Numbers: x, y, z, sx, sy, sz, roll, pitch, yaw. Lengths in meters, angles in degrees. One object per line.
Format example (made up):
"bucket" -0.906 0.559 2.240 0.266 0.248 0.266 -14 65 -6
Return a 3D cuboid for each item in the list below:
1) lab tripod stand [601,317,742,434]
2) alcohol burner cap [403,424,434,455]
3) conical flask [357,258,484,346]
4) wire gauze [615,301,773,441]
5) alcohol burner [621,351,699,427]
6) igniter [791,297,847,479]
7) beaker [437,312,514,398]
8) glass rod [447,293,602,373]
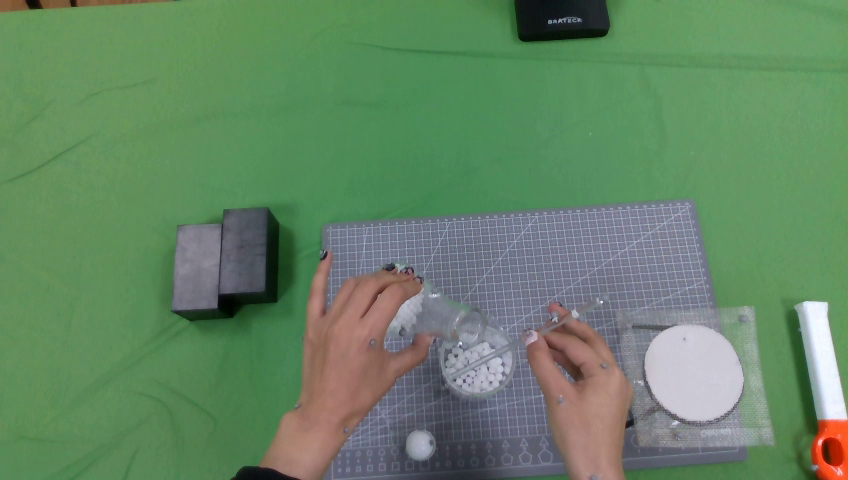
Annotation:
"lab tripod stand" 0.240 0.139 0.603 0.148 0.132 0.147 0 74 1
"alcohol burner cap" -0.006 0.208 0.633 0.034 0.048 0.033 0 73 1
"conical flask" 0.000 0.062 0.548 0.121 0.076 0.075 13 66 49
"wire gauze" 0.239 0.116 0.539 0.125 0.011 0.120 -1 73 1
"alcohol burner" 0.242 0.148 0.610 0.078 0.120 0.077 -1 72 4
"igniter" 0.429 0.196 0.640 0.057 0.025 0.275 4 72 -9
"beaker" 0.052 0.123 0.630 0.074 0.101 0.083 18 72 7
"glass rod" 0.081 0.087 0.538 0.008 0.200 0.008 20 53 -28
